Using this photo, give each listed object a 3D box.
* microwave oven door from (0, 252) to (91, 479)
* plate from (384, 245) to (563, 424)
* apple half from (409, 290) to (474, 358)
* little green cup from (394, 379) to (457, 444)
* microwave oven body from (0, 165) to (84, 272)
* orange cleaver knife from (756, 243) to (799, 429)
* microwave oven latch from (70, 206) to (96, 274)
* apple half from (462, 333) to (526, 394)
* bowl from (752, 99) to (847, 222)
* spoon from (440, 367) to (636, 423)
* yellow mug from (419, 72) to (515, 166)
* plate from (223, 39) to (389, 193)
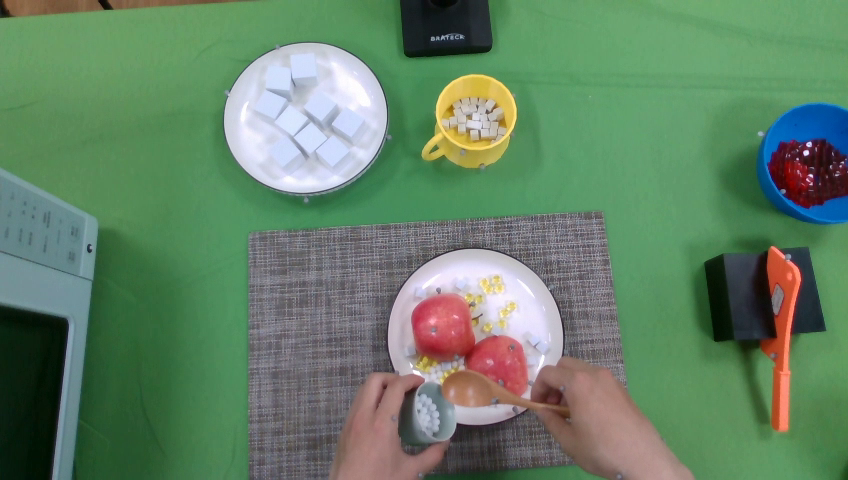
[{"bbox_3d":[-0.414,0.192,0.577,0.039,0.245,0.354,-1,77,0],"label":"microwave oven door"},{"bbox_3d":[0.057,0.110,0.718,0.209,0.038,0.208,0,78,-1],"label":"plate"},{"bbox_3d":[0.019,0.097,0.705,0.074,0.053,0.080,-6,78,1],"label":"apple half"},{"bbox_3d":[0.000,0.180,0.627,0.062,0.039,0.061,24,44,-25],"label":"little green cup"},{"bbox_3d":[-0.560,0.152,0.590,0.326,0.261,0.439,0,78,-1],"label":"microwave oven body"},{"bbox_3d":[0.405,0.111,0.701,0.012,0.077,0.212,-3,101,3],"label":"orange cleaver knife"},{"bbox_3d":[-0.414,0.000,0.723,0.030,0.029,0.079,2,78,0],"label":"microwave oven latch"},{"bbox_3d":[0.083,0.146,0.703,0.081,0.033,0.081,0,74,-1],"label":"apple half"},{"bbox_3d":[0.470,-0.088,0.747,0.151,0.077,0.150,0,78,0],"label":"bowl"},{"bbox_3d":[0.106,0.158,0.594,0.192,0.022,0.042,6,101,26],"label":"spoon"},{"bbox_3d":[0.048,-0.142,0.763,0.131,0.064,0.099,-35,79,-7],"label":"yellow mug"},{"bbox_3d":[-0.148,-0.157,0.779,0.208,0.039,0.206,0,78,0],"label":"plate"}]
